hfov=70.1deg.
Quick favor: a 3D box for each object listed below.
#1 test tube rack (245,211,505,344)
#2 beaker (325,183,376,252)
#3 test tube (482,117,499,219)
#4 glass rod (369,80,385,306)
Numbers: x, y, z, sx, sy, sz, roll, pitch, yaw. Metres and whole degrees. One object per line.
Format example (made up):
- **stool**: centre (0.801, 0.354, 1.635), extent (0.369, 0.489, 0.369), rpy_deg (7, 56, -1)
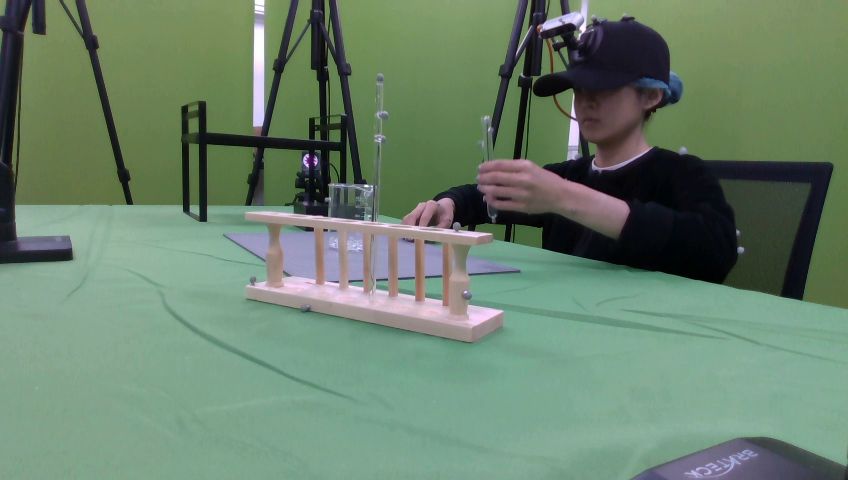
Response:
- **test tube rack**: centre (-0.049, 0.025, 0.547), extent (0.241, 0.085, 0.067), rpy_deg (7, 8, 29)
- **beaker**: centre (-0.110, -0.034, 0.920), extent (0.083, 0.100, 0.074), rpy_deg (11, 11, 43)
- **test tube**: centre (0.097, -0.105, 0.890), extent (0.017, 0.150, 0.017), rpy_deg (-5, 11, 1)
- **glass rod**: centre (-0.041, -0.039, 0.530), extent (0.008, 0.199, 0.008), rpy_deg (3, 2, 0)
